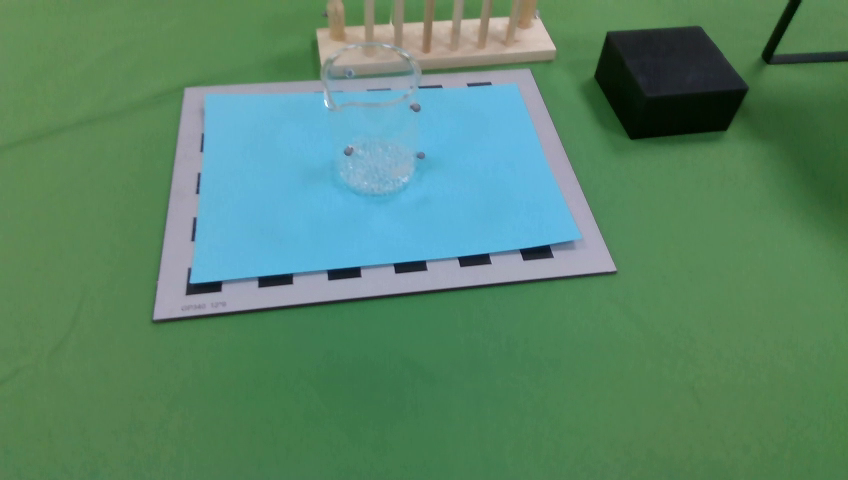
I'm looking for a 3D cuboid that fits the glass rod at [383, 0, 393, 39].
[{"bbox_3d":[-0.022,-0.281,0.566,0.008,0.201,0.008,8,46,-8],"label":"glass rod"}]

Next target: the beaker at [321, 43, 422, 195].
[{"bbox_3d":[-0.043,-0.091,0.483,0.073,0.101,0.084,32,57,21],"label":"beaker"}]

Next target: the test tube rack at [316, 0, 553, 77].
[{"bbox_3d":[0.012,-0.228,0.610,0.243,0.086,0.066,-7,52,-9],"label":"test tube rack"}]
